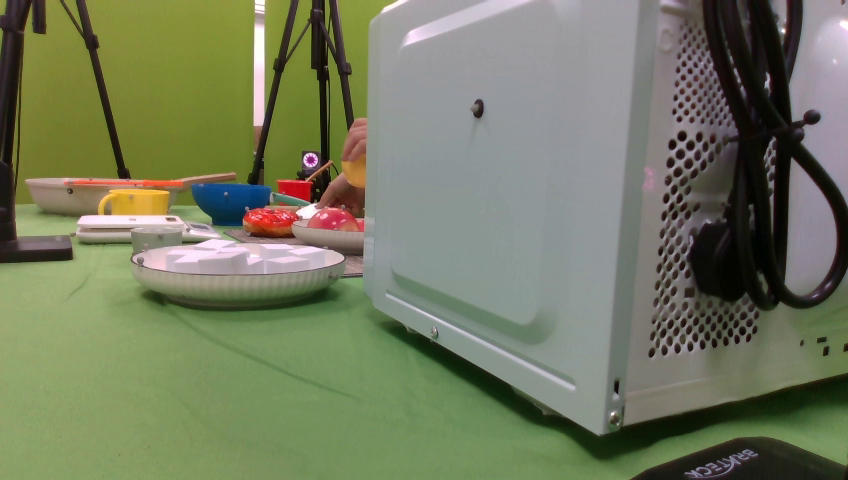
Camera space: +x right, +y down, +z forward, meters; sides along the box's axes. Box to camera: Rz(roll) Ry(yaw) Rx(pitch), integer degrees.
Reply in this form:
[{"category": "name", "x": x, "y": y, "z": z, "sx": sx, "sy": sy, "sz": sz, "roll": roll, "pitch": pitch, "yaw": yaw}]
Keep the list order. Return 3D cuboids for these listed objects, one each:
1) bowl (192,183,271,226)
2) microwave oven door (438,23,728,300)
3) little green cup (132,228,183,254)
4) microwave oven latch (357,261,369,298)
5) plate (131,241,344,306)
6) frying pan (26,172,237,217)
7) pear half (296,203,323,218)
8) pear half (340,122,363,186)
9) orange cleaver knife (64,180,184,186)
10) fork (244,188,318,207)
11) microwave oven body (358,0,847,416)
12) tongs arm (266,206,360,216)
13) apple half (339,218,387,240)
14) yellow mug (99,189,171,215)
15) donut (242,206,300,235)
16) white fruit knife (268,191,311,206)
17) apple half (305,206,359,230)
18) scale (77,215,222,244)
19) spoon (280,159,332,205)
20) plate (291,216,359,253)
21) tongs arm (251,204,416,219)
[{"category": "bowl", "x": -0.382, "y": -0.070, "z": 1.202, "sx": 0.151, "sy": 0.077, "sz": 0.151, "roll": 3, "pitch": 7, "yaw": 0}, {"category": "microwave oven door", "x": 0.181, "y": -0.073, "z": 0.621, "sx": 0.358, "sy": 0.243, "sz": 0.039, "roll": -2, "pitch": 8, "yaw": -29}, {"category": "little green cup", "x": -0.342, "y": 0.006, "z": 0.779, "sx": 0.061, "sy": 0.038, "sz": 0.061, "roll": 2, "pitch": 8, "yaw": 0}, {"category": "microwave oven latch", "x": -0.019, "y": 0.033, "z": 0.530, "sx": 0.079, "sy": 0.029, "sz": 0.030, "roll": 0, "pitch": 7, "yaw": -25}, {"category": "plate", "x": -0.187, "y": 0.033, "z": 0.625, "sx": 0.208, "sy": 0.039, "sz": 0.207, "roll": 2, "pitch": 7, "yaw": 0}, {"category": "frying pan", "x": -0.624, "y": -0.118, "z": 1.387, "sx": 0.305, "sy": 0.102, "sz": 0.490, "roll": 8, "pitch": 17, "yaw": 32}, {"category": "pear half", "x": -0.231, "y": -0.048, "z": 1.253, "sx": 0.070, "sy": 0.031, "sz": 0.088, "roll": 6, "pitch": 23, "yaw": -3}, {"category": "pear half", "x": -0.100, "y": -0.148, "z": 1.022, "sx": 0.077, "sy": 0.109, "sz": 0.055, "roll": -2, "pitch": -2, "yaw": -28}, {"category": "orange cleaver knife", "x": -0.595, "y": -0.114, "z": 1.212, "sx": 0.212, "sy": 0.012, "sz": 0.077, "roll": -4, "pitch": 6, "yaw": -41}, {"category": "fork", "x": -0.356, "y": -0.105, "z": 1.526, "sx": 0.208, "sy": 0.018, "sz": 0.028, "roll": 16, "pitch": -5, "yaw": -41}, {"category": "microwave oven body", "x": 0.211, "y": -0.047, "z": 0.474, "sx": 0.444, "sy": 0.260, "sz": 0.324, "roll": -1, "pitch": 7, "yaw": -28}, {"category": "tongs arm", "x": -0.174, "y": -0.061, "z": 1.363, "sx": 0.387, "sy": 0.026, "sz": 0.050, "roll": -1, "pitch": 3, "yaw": -31}, {"category": "apple half", "x": -0.097, "y": -0.019, "z": 0.983, "sx": 0.081, "sy": 0.033, "sz": 0.081, "roll": 2, "pitch": 7, "yaw": 0}, {"category": "yellow mug", "x": -0.519, "y": -0.055, "z": 1.080, "sx": 0.099, "sy": 0.064, "sz": 0.131, "roll": 7, "pitch": 9, "yaw": 26}, {"category": "donut", "x": -0.263, "y": -0.032, "z": 1.039, "sx": 0.099, "sy": 0.048, "sz": 0.099, "roll": 4, "pitch": 9, "yaw": 0}, {"category": "white fruit knife", "x": -0.364, "y": -0.105, "z": 1.464, "sx": 0.208, "sy": 0.027, "sz": 0.016, "roll": 15, "pitch": -1, "yaw": -34}, {"category": "apple half", "x": -0.137, "y": -0.024, "z": 0.914, "sx": 0.081, "sy": 0.053, "sz": 0.074, "roll": 0, "pitch": 9, "yaw": -38}, {"category": "scale", "x": -0.434, "y": -0.019, "z": 0.963, "sx": 0.202, "sy": 0.031, "sz": 0.148, "roll": -1, "pitch": 9, "yaw": -27}, {"category": "spoon", "x": -0.316, "y": -0.159, "z": 1.640, "sx": 0.194, "sy": 0.022, "sz": 0.041, "roll": -50, "pitch": 32, "yaw": -20}, {"category": "plate", "x": -0.102, "y": -0.009, "z": 0.945, "sx": 0.209, "sy": 0.038, "sz": 0.209, "roll": 2, "pitch": 8, "yaw": 0}, {"category": "tongs arm", "x": -0.211, "y": -0.068, "z": 1.440, "sx": 0.389, "sy": 0.027, "sz": 0.028, "roll": 1, "pitch": -1, "yaw": -17}]
